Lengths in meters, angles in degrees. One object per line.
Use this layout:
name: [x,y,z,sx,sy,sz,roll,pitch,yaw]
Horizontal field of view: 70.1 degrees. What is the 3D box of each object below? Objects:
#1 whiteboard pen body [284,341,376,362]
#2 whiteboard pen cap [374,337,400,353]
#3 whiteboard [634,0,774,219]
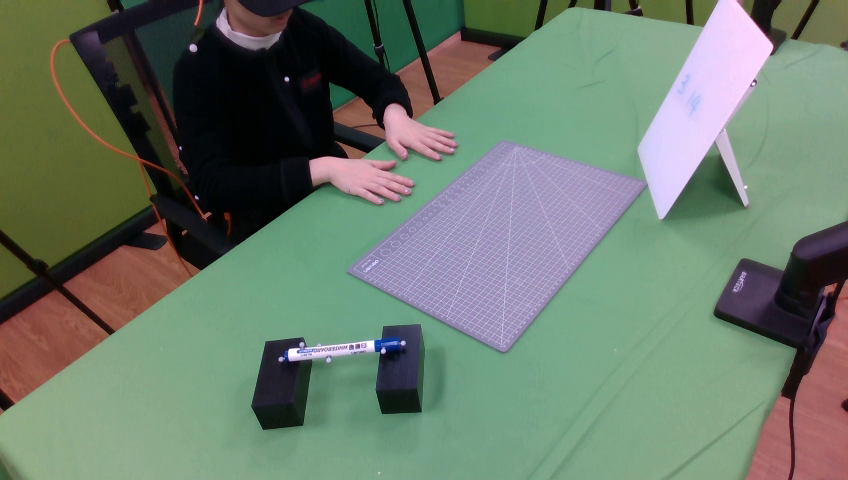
whiteboard pen body: [-0.105,0.138,0.754,0.141,0.017,0.017,-6,40,2]
whiteboard pen cap: [-0.047,0.132,0.753,0.033,0.018,0.018,-9,40,3]
whiteboard: [0.485,-0.192,0.957,0.144,0.305,0.216,14,41,-4]
